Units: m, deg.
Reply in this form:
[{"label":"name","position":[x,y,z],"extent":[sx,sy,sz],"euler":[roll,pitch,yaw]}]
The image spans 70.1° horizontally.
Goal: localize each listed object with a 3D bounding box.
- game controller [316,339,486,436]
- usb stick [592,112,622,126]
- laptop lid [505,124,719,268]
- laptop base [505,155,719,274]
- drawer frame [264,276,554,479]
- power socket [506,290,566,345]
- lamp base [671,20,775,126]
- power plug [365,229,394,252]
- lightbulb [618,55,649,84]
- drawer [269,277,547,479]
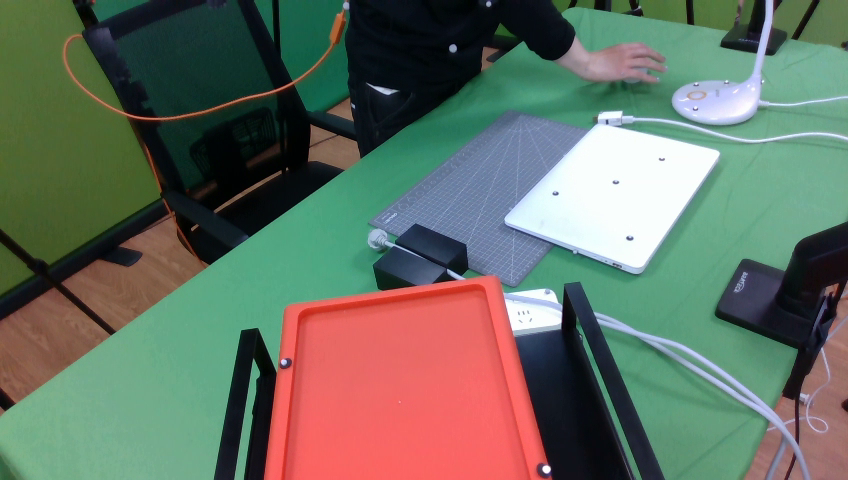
[{"label":"game controller","position":[-0.021,0.119,0.534],"extent":[0.155,0.052,0.096],"euler":[-3,39,1]},{"label":"usb stick","position":[0.361,-0.239,1.197],"extent":[0.059,0.021,0.027],"euler":[4,42,27]},{"label":"laptop lid","position":[0.323,-0.093,1.021],"extent":[0.240,0.013,0.358],"euler":[23,49,32]},{"label":"laptop base","position":[0.326,-0.083,1.028],"extent":[0.233,0.023,0.355],"euler":[21,48,32]},{"label":"drawer frame","position":[-0.016,0.137,0.490],"extent":[0.202,0.083,0.212],"euler":[-8,41,-2]},{"label":"power socket","position":[0.081,0.112,0.822],"extent":[0.227,0.033,0.072],"euler":[-7,41,0]},{"label":"lamp base","position":[0.581,-0.332,1.154],"extent":[0.179,0.181,0.160],"euler":[2,41,7]},{"label":"power plug","position":[-0.067,0.010,0.954],"extent":[0.035,0.053,0.072],"euler":[-40,52,1]},{"label":"lightbulb","position":[0.464,-0.376,1.324],"extent":[0.059,0.059,0.108],"euler":[22,34,30]},{"label":"drawer","position":[-0.018,0.137,0.493],"extent":[0.195,0.073,0.210],"euler":[-7,41,-1]}]
